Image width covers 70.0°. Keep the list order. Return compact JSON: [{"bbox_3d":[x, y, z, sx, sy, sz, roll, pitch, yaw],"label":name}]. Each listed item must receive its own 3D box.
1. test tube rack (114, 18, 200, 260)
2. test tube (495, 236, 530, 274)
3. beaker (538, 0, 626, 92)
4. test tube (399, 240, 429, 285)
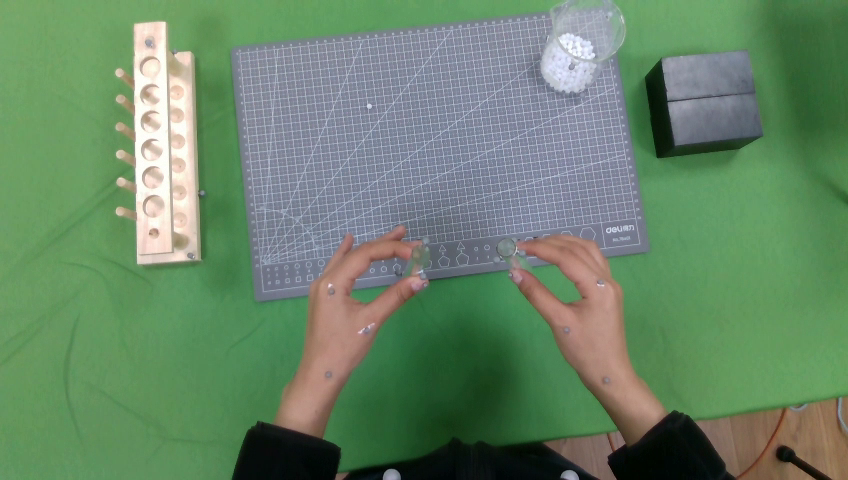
[{"bbox_3d":[-0.293,-0.104,0.654,0.067,0.085,0.241,-4,83,-2],"label":"test tube rack"},{"bbox_3d":[0.079,0.015,0.524,0.017,0.151,0.017,-2,81,14],"label":"test tube"},{"bbox_3d":[0.166,-0.213,0.668,0.084,0.100,0.074,30,83,4],"label":"beaker"},{"bbox_3d":[-0.010,0.023,0.528,0.017,0.151,0.017,1,78,-5],"label":"test tube"}]
